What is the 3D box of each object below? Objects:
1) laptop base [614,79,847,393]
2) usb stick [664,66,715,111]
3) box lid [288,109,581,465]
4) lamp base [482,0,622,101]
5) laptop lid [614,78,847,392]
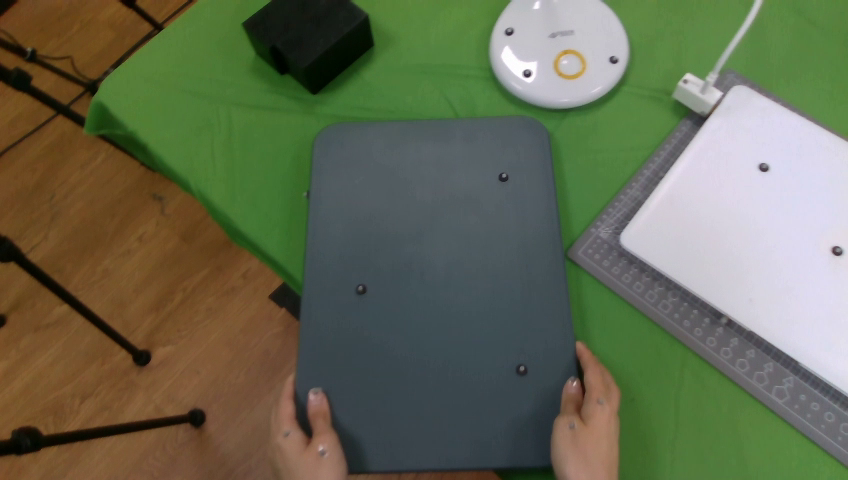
[{"bbox_3d":[0.399,0.009,0.604,0.352,0.023,0.235,36,79,15],"label":"laptop base"},{"bbox_3d":[0.295,-0.161,0.660,0.059,0.027,0.021,39,72,13],"label":"usb stick"},{"bbox_3d":[0.006,0.025,0.602,0.263,0.015,0.368,-2,67,0],"label":"box lid"},{"bbox_3d":[0.139,-0.269,0.637,0.161,0.181,0.177,-20,67,-4],"label":"lamp base"},{"bbox_3d":[0.397,0.006,0.593,0.354,0.013,0.241,38,78,16],"label":"laptop lid"}]
